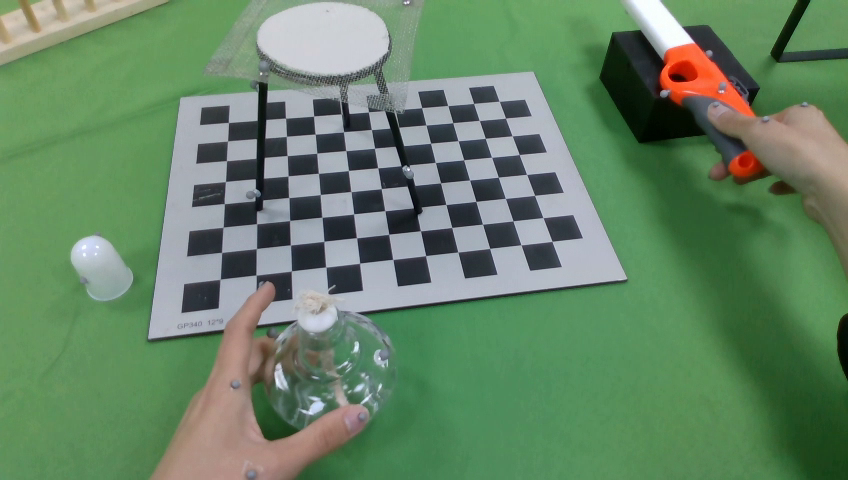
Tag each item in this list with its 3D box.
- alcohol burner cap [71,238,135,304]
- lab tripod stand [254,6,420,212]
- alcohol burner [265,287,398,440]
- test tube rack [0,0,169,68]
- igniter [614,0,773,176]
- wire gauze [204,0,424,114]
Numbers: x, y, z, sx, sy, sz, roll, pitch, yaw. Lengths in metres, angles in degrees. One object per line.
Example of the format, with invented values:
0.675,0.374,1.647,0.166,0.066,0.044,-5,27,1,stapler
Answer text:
-0.227,0.019,0.423,0.034,0.048,0.033,2,51,-2,alcohol burner cap
-0.065,-0.092,0.454,0.148,0.132,0.147,2,50,-2,lab tripod stand
-0.054,0.067,0.345,0.078,0.120,0.077,0,51,1,alcohol burner
-0.392,-0.245,0.601,0.242,0.086,0.066,-36,61,-27,test tube rack
0.225,-0.156,0.531,0.057,0.025,0.273,-13,51,1,igniter
-0.066,-0.132,0.400,0.125,0.011,0.120,8,51,2,wire gauze
